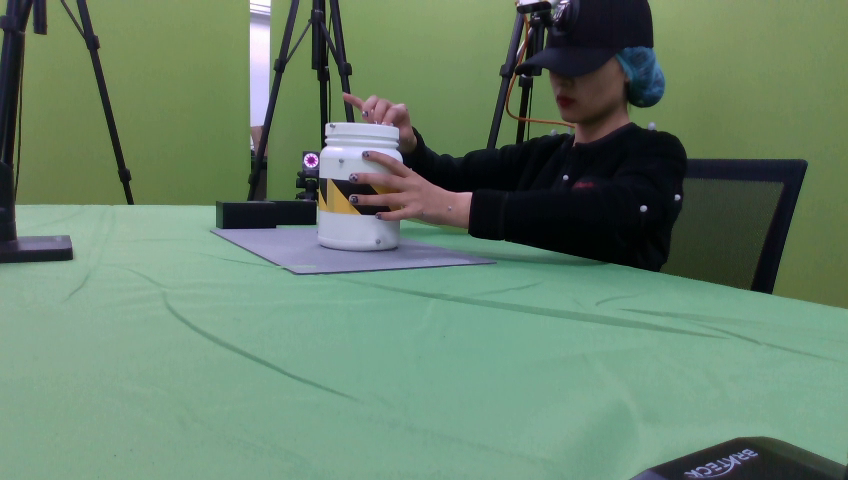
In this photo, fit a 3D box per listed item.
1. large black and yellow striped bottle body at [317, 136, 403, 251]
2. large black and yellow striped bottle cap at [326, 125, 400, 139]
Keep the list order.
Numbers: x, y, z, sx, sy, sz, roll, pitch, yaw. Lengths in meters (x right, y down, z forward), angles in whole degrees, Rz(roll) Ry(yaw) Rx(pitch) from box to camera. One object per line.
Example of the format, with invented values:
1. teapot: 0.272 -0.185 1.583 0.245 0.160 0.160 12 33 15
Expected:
1. large black and yellow striped bottle body: -0.100 -0.081 0.952 0.131 0.184 0.130 3 7 0
2. large black and yellow striped bottle cap: -0.095 -0.168 0.940 0.115 0.019 0.115 1 8 0
